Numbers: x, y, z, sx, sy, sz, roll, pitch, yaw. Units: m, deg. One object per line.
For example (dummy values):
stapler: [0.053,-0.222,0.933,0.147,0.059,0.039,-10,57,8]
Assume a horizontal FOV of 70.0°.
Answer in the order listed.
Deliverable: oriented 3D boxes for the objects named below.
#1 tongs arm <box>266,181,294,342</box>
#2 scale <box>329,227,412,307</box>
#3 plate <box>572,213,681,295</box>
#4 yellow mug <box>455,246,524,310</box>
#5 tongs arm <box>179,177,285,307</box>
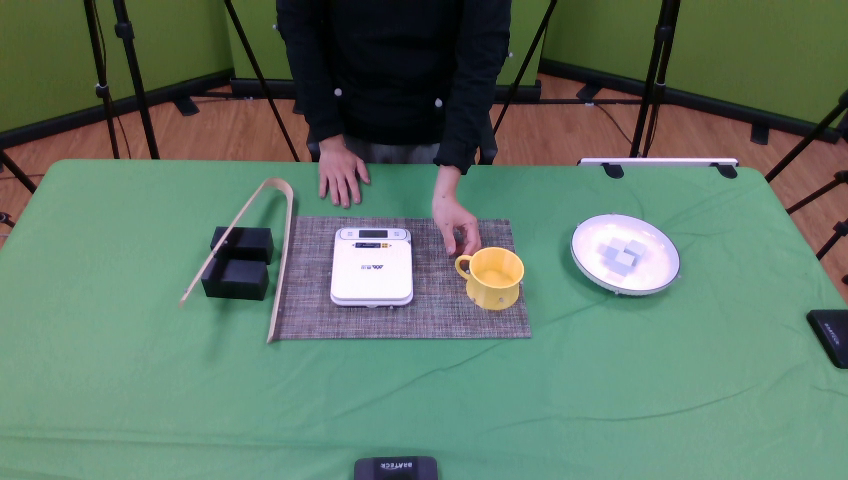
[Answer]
tongs arm: [-0.273,0.027,1.144,0.028,0.028,0.385,17,42,-22]
scale: [-0.099,0.042,1.139,0.149,0.032,0.199,1,46,-4]
plate: [0.392,0.030,1.189,0.208,0.039,0.206,2,46,-2]
yellow mug: [0.115,0.063,1.111,0.130,0.064,0.099,22,49,17]
tongs arm: [-0.342,-0.008,1.117,0.051,0.026,0.382,29,38,-14]
